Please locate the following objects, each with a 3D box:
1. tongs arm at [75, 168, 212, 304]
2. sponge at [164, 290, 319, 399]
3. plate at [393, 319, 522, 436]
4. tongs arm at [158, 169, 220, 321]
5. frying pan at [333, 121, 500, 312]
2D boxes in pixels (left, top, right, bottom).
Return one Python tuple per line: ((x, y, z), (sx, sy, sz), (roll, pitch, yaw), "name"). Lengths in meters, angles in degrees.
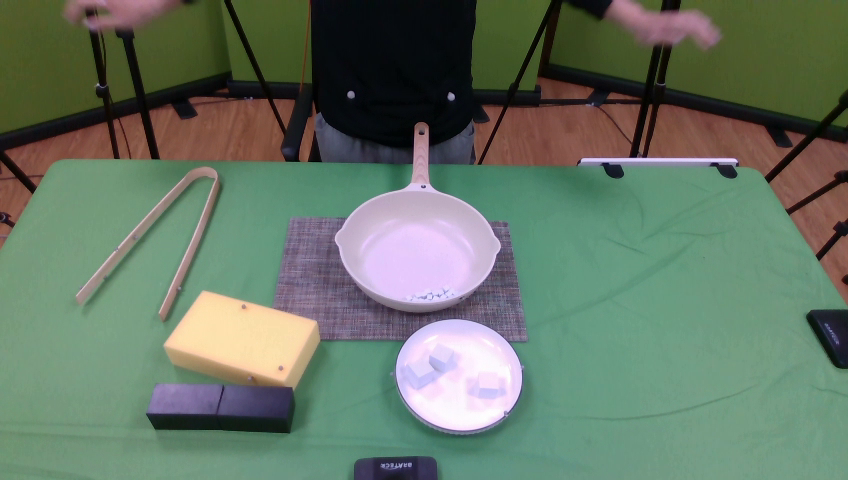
((-0.526, -0.021, 1.167), (0.051, 0.026, 0.383), (13, 45, 7), "tongs arm")
((-0.292, 0.167, 0.986), (0.206, 0.061, 0.117), (14, 50, 9), "sponge")
((0.053, 0.222, 0.979), (0.208, 0.039, 0.206), (3, 46, -2), "plate")
((-0.446, -0.005, 1.164), (0.028, 0.028, 0.385), (1, 46, 0), "tongs arm")
((-0.011, -0.063, 1.195), (0.307, 0.103, 0.485), (4, 55, -2), "frying pan")
